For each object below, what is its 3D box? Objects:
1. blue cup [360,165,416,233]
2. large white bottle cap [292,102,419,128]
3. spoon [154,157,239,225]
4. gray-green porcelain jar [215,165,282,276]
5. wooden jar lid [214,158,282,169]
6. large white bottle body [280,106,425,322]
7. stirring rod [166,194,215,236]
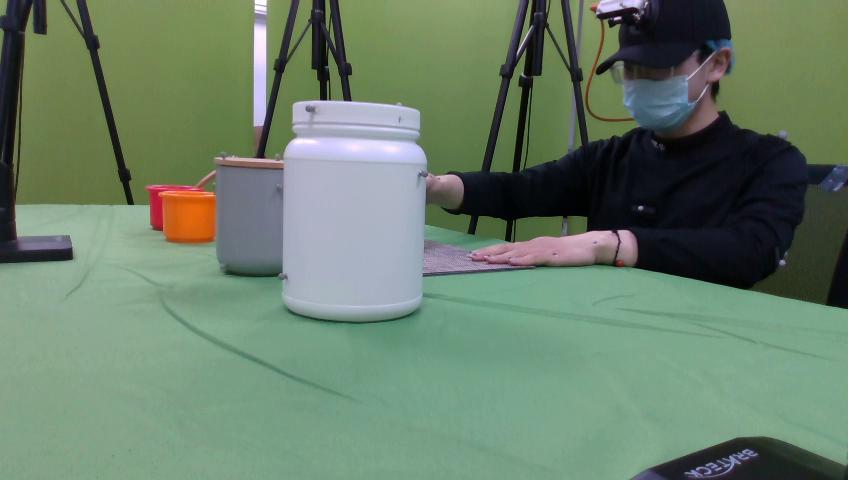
[{"bbox_3d":[-0.059,-0.065,0.968,0.093,0.100,0.092,5,11,-1],"label":"blue cup"},{"bbox_3d":[-0.061,-0.111,0.547,0.115,0.018,0.115,2,8,0],"label":"large white bottle cap"},{"bbox_3d":[-0.411,-0.092,1.105,0.041,0.022,0.194,13,56,51],"label":"spoon"},{"bbox_3d":[-0.195,-0.024,0.726,0.106,0.126,0.106,3,7,0],"label":"gray-green porcelain jar"},{"bbox_3d":[-0.193,-0.085,0.719,0.108,0.020,0.108,2,9,0],"label":"wooden jar lid"},{"bbox_3d":[-0.065,-0.028,0.559,0.131,0.184,0.130,2,7,0],"label":"large white bottle body"},{"bbox_3d":[-0.341,-0.066,0.966,0.176,0.006,0.014,-42,23,-9],"label":"stirring rod"}]
